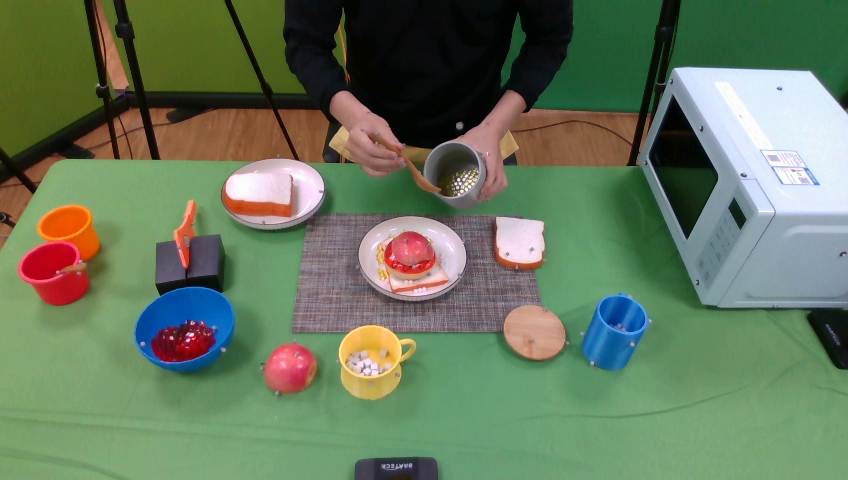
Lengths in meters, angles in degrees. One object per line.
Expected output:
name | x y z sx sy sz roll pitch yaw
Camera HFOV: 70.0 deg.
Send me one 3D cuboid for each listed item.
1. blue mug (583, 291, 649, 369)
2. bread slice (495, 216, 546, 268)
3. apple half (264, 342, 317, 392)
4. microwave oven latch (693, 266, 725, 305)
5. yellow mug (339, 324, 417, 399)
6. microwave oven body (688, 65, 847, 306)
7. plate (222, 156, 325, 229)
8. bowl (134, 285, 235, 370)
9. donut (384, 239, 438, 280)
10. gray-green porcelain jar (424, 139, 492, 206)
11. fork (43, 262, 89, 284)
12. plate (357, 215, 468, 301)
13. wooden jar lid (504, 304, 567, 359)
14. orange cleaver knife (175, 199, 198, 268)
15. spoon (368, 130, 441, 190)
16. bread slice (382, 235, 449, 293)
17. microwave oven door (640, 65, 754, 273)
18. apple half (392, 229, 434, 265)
blue mug | 0.324 0.142 1.023 0.082 0.106 0.116 15 47 11
bread slice | 0.194 0.002 1.204 0.105 0.019 0.131 5 45 2
apple half | -0.214 0.198 0.970 0.074 0.053 0.080 19 48 10
microwave oven latch | 0.523 0.082 1.115 0.030 0.029 0.078 3 46 0
yellow mug | -0.072 0.190 0.978 0.131 0.064 0.099 -17 50 -20
microwave oven body | 0.669 -0.111 1.176 0.326 0.261 0.439 0 46 -3
plate | -0.308 -0.095 1.251 0.209 0.038 0.208 2 47 -2
bowl | -0.377 0.155 0.981 0.151 0.077 0.150 2 46 -2
donut | -0.025 0.029 1.109 0.099 0.048 0.098 2 46 -2
gray-green porcelain jar | 0.066 -0.119 1.114 0.106 0.127 0.105 -1 84 16
fork | -0.599 0.053 1.013 0.207 0.019 0.028 -14 30 45
plate | -0.021 0.037 1.141 0.208 0.039 0.206 2 46 -2
wooden jar lid | 0.192 0.161 1.051 0.108 0.021 0.107 2 50 -3
orange cleaver knife | -0.438 -0.017 1.138 0.012 0.077 0.210 -13 27 -7
spoon | -0.030 -0.126 0.975 0.041 0.195 0.021 23 78 41
bread slice | -0.026 0.043 1.145 0.107 0.018 0.133 -14 54 -15
microwave oven door | 0.523 -0.147 1.193 0.039 0.245 0.353 0 47 -3
apple half | -0.020 0.005 1.083 0.081 0.033 0.081 6 49 -7
